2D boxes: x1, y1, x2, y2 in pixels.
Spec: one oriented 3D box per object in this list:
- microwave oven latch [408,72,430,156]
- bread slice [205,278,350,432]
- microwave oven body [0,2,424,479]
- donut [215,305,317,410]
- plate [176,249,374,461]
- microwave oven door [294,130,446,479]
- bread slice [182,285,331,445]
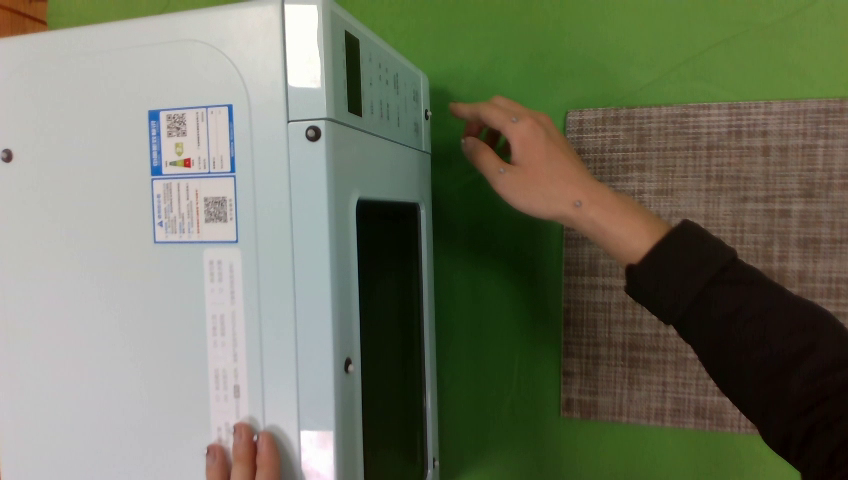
[{"bbox_3d":[-0.010,-0.122,0.596,0.030,0.029,0.079,0,93,16],"label":"microwave oven latch"},{"bbox_3d":[-0.152,0.105,0.594,0.133,0.018,0.107,41,95,12],"label":"bread slice"},{"bbox_3d":[-0.175,0.061,0.554,0.325,0.261,0.441,-1,93,16],"label":"microwave oven body"},{"bbox_3d":[-0.150,0.111,0.573,0.099,0.048,0.099,0,91,11],"label":"donut"},{"bbox_3d":[-0.145,0.111,0.601,0.207,0.039,0.207,1,93,14],"label":"plate"},{"bbox_3d":[-0.034,0.100,0.510,0.039,0.244,0.356,-2,92,17],"label":"microwave oven door"},{"bbox_3d":[-0.162,0.109,0.549,0.131,0.019,0.105,47,106,7],"label":"bread slice"}]
